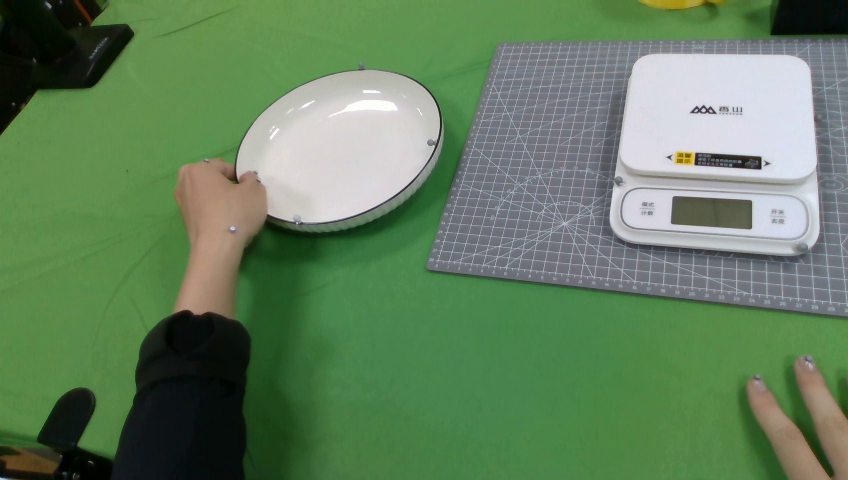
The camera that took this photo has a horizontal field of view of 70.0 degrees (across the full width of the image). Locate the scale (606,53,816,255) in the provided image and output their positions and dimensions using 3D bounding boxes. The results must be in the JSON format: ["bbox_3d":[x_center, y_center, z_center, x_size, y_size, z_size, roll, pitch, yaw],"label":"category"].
[{"bbox_3d":[0.237,-0.080,0.504,0.148,0.032,0.199,5,57,20],"label":"scale"}]

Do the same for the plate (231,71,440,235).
[{"bbox_3d":[-0.085,-0.085,0.597,0.209,0.038,0.207,-6,54,9],"label":"plate"}]

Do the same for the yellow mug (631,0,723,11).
[{"bbox_3d":[0.271,-0.291,0.632,0.100,0.064,0.129,-30,53,-6],"label":"yellow mug"}]
